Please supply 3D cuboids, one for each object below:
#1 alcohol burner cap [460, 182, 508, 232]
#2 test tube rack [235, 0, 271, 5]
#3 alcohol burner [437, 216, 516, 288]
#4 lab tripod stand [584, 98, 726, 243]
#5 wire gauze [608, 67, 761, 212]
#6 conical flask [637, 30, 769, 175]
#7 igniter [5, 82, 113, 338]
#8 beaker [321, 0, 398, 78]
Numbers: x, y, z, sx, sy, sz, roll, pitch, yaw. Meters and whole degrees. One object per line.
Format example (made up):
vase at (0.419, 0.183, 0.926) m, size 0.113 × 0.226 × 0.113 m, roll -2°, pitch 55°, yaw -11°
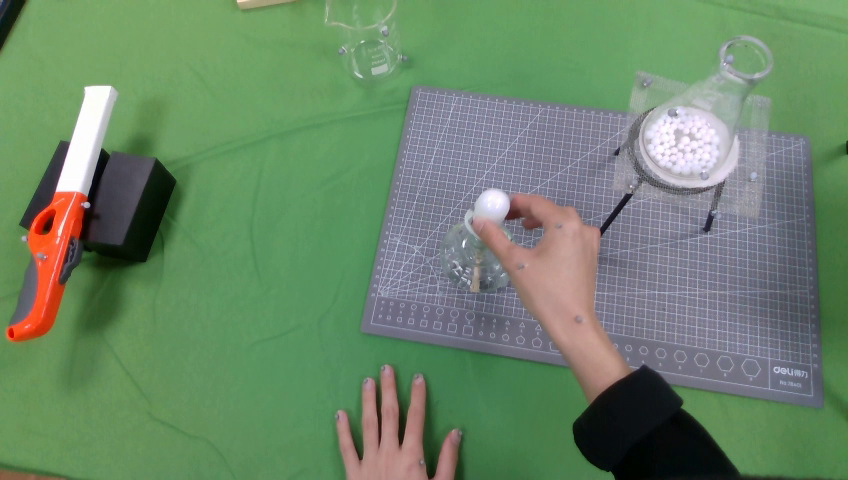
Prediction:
alcohol burner cap at (0.053, -0.031, 0.511) m, size 0.034 × 0.048 × 0.033 m, roll 7°, pitch 62°, yaw -13°
test tube rack at (-0.122, -0.359, 0.733) m, size 0.242 × 0.086 × 0.066 m, roll -10°, pitch 70°, yaw -3°
alcohol burner at (0.051, 0.003, 0.577) m, size 0.078 × 0.120 × 0.077 m, roll 0°, pitch 68°, yaw 0°
lab tripod stand at (0.224, -0.063, 0.587) m, size 0.148 × 0.132 × 0.147 m, roll 0°, pitch 68°, yaw 0°
wire gauze at (0.230, -0.089, 0.526) m, size 0.121 × 0.011 × 0.124 m, roll 15°, pitch 69°, yaw 4°
conical flask at (0.219, -0.108, 0.470) m, size 0.075 × 0.122 × 0.075 m, roll 0°, pitch 69°, yaw 1°
igniter at (-0.358, -0.038, 0.602) m, size 0.057 × 0.025 × 0.274 m, roll 0°, pitch 69°, yaw 7°
beaker at (-0.069, -0.236, 0.680) m, size 0.084 × 0.101 × 0.073 m, roll -32°, pitch 71°, yaw -9°
